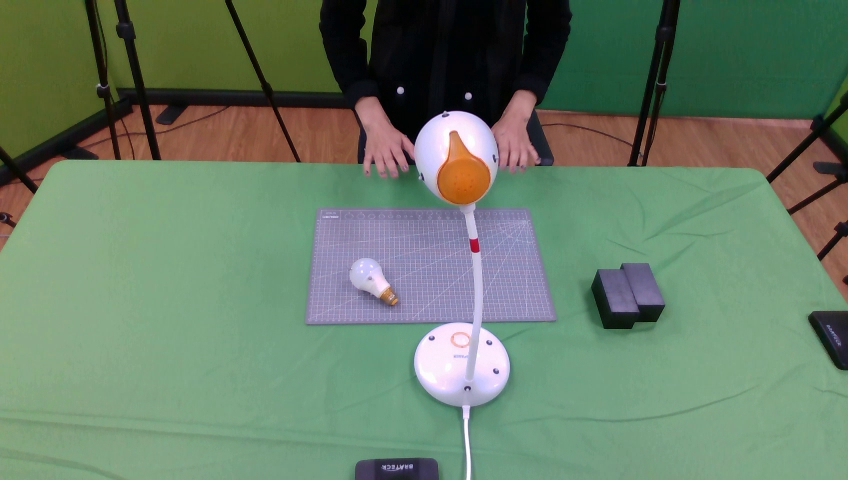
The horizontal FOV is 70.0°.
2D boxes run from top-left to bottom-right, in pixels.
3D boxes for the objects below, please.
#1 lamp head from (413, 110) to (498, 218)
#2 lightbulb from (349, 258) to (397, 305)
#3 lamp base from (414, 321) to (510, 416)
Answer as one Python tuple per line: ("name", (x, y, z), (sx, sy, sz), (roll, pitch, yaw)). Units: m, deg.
("lamp head", (0.044, -0.090, 0.758), (0.112, 0.113, 0.122), (-1, 32, -4))
("lightbulb", (-0.090, 0.078, 1.095), (0.107, 0.060, 0.059), (43, 56, 12))
("lamp base", (0.069, 0.159, 0.942), (0.161, 0.181, 0.178), (-4, 49, -8))
